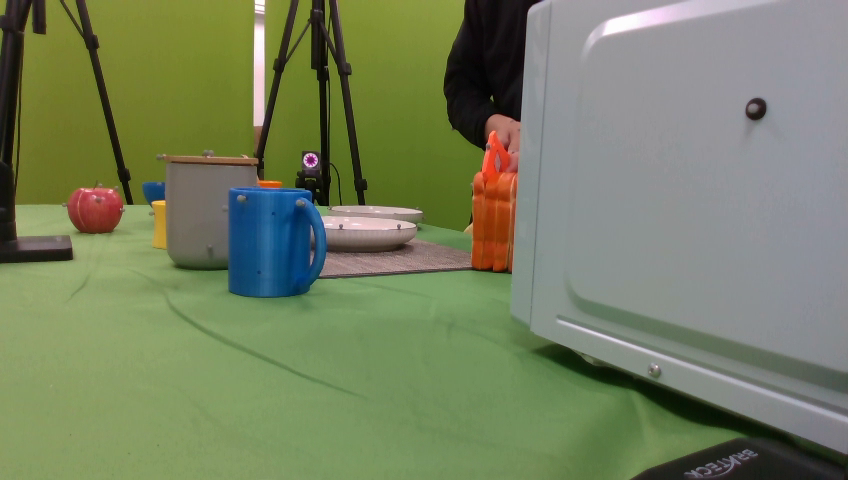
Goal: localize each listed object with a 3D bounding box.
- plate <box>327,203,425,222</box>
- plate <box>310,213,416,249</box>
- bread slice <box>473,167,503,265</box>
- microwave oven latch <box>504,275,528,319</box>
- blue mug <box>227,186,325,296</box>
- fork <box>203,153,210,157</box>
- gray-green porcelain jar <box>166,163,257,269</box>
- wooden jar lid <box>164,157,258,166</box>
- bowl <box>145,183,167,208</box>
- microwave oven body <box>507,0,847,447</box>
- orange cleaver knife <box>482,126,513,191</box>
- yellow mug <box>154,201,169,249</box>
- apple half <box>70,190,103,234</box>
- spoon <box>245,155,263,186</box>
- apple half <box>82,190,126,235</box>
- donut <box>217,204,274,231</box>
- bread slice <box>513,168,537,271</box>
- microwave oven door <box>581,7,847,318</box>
[{"bbox_3d":[-0.102,-0.053,1.299,0.209,0.038,0.209,2,8,0],"label":"plate"},{"bbox_3d":[-0.117,-0.014,0.967,0.208,0.039,0.207,2,7,0],"label":"plate"},{"bbox_3d":[0.089,-0.036,0.839,0.019,0.131,0.105,-2,5,19],"label":"bread slice"},{"bbox_3d":[0.100,0.042,0.471,0.079,0.029,0.030,-1,7,-28],"label":"microwave oven latch"},{"bbox_3d":[-0.146,0.000,0.618,0.116,0.106,0.083,7,9,32],"label":"blue mug"},{"bbox_3d":[-0.480,-0.135,1.411,0.028,0.018,0.207,1,-34,0],"label":"fork"},{"bbox_3d":[-0.263,-0.031,0.754,0.106,0.126,0.106,2,7,0],"label":"gray-green porcelain jar"},{"bbox_3d":[-0.261,-0.093,0.746,0.108,0.020,0.108,0,9,0],"label":"wooden jar lid"},{"bbox_3d":[-0.459,-0.068,1.175,0.151,0.077,0.151,3,7,0],"label":"bowl"},{"bbox_3d":[0.331,-0.042,0.425,0.444,0.260,0.324,-2,8,-31],"label":"microwave oven body"},{"bbox_3d":[0.116,-0.111,0.878,0.012,0.077,0.212,6,1,20],"label":"orange cleaver knife"},{"bbox_3d":[-0.338,-0.022,0.899,0.130,0.064,0.100,8,9,35],"label":"yellow mug"},{"bbox_3d":[-0.552,-0.047,1.009,0.053,0.074,0.081,-1,9,26],"label":"apple half"},{"bbox_3d":[-0.421,-0.150,1.540,0.042,0.021,0.193,-5,55,-37],"label":"spoon"},{"bbox_3d":[-0.516,-0.046,0.994,0.032,0.081,0.081,0,6,26],"label":"apple half"},{"bbox_3d":[-0.318,-0.038,1.080,0.099,0.048,0.099,3,7,0],"label":"donut"},{"bbox_3d":[0.137,-0.030,0.822,0.018,0.134,0.107,0,9,18],"label":"bread slice"},{"bbox_3d":[0.295,-0.067,0.569,0.358,0.243,0.039,-3,8,-31],"label":"microwave oven door"}]
